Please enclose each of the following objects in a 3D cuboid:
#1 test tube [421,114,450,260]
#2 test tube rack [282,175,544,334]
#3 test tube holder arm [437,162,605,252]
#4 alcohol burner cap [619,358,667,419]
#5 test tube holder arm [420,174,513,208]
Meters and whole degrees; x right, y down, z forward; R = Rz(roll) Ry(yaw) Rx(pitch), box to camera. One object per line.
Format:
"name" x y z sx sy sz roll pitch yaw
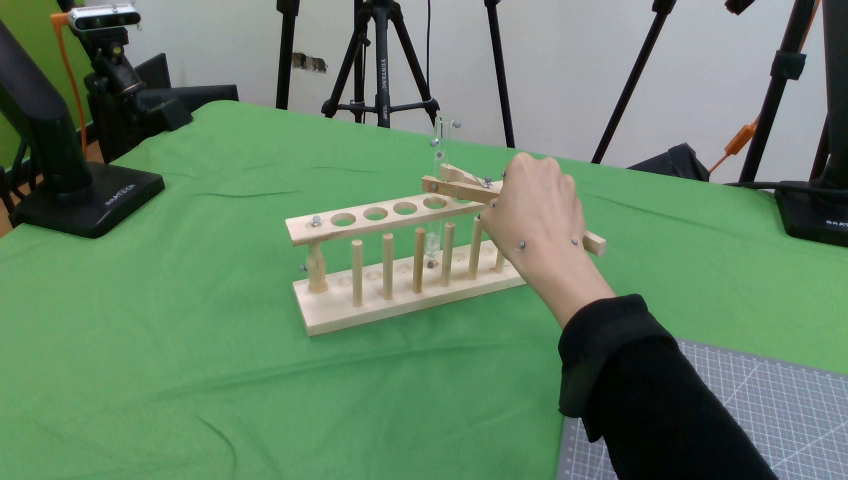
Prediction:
"test tube" 0.009 -0.045 0.563 0.017 0.151 0.017 4 33 -2
"test tube rack" -0.002 0.009 0.572 0.243 0.086 0.066 -12 38 -19
"test tube holder arm" 0.075 -0.032 0.512 0.013 0.015 0.176 -32 44 -33
"alcohol burner cap" 0.173 0.113 0.474 0.034 0.048 0.033 2 37 -1
"test tube holder arm" 0.037 -0.044 0.532 0.087 0.015 0.010 13 38 21
